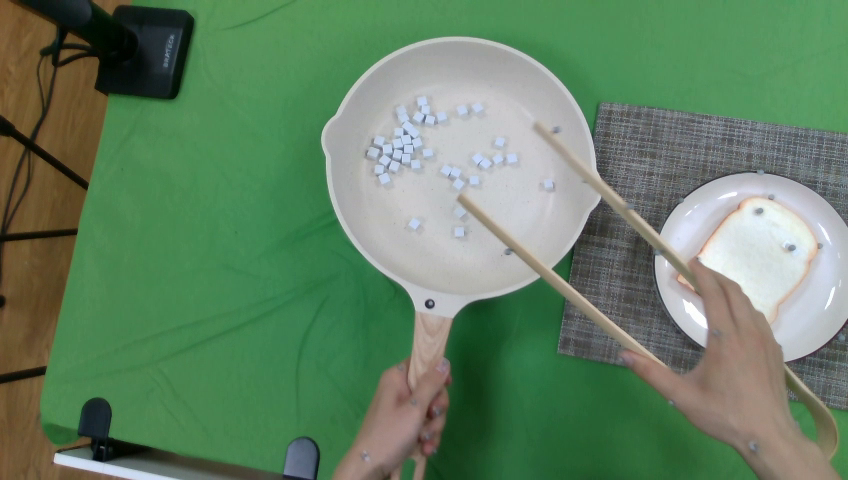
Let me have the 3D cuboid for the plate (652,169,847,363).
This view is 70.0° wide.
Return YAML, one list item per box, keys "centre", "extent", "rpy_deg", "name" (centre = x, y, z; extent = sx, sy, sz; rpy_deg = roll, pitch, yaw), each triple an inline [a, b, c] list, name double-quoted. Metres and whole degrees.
- centre: [0.352, 0.028, 0.654]
  extent: [0.207, 0.039, 0.207]
  rpy_deg: [-1, 82, 8]
  name: "plate"

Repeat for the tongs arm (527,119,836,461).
- centre: [0.219, 0.039, 0.544]
  extent: [0.384, 0.026, 0.050]
  rpy_deg: [44, 80, 6]
  name: "tongs arm"

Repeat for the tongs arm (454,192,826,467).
- centre: [0.180, 0.078, 0.536]
  extent: [0.387, 0.028, 0.028]
  rpy_deg: [39, 76, 5]
  name: "tongs arm"

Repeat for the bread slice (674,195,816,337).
- centre: [0.351, 0.020, 0.658]
  extent: [0.106, 0.018, 0.134]
  rpy_deg: [34, 90, 10]
  name: "bread slice"

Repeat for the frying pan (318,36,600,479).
- centre: [0.018, 0.020, 0.641]
  extent: [0.307, 0.103, 0.485]
  rpy_deg: [12, 72, -2]
  name: "frying pan"
